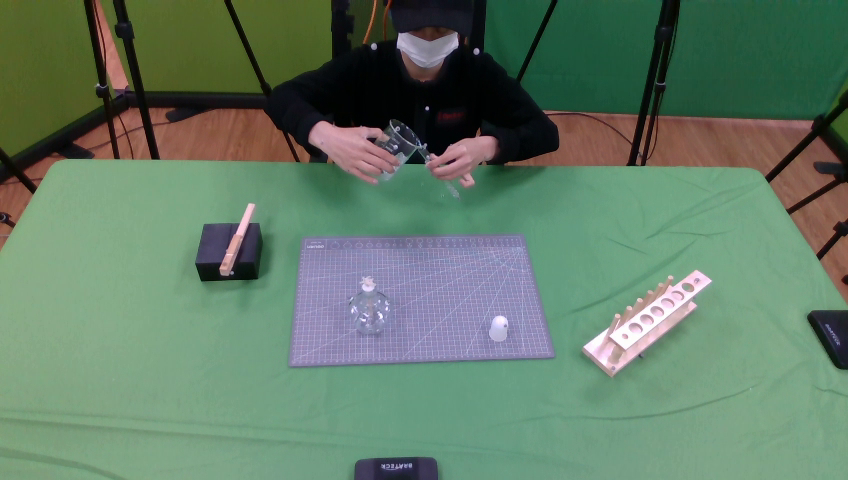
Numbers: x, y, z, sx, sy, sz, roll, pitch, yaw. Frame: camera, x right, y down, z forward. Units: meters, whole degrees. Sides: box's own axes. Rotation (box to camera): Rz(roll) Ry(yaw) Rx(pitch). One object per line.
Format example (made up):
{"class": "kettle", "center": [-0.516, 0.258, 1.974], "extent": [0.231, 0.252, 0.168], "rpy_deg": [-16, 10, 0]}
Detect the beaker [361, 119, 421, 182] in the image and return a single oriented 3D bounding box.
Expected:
{"class": "beaker", "center": [-0.064, -0.166, 1.152], "extent": [0.084, 0.100, 0.073], "rpy_deg": [30, 27, -27]}

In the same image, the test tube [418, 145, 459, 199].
{"class": "test tube", "center": [0.031, -0.132, 1.201], "extent": [0.017, 0.151, 0.017], "rpy_deg": [-21, 44, 22]}

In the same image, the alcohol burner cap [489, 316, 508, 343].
{"class": "alcohol burner cap", "center": [0.130, 0.151, 1.045], "extent": [0.034, 0.048, 0.033], "rpy_deg": [2, 46, -2]}

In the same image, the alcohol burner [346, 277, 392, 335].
{"class": "alcohol burner", "center": [-0.093, 0.106, 1.021], "extent": [0.078, 0.120, 0.077], "rpy_deg": [1, 46, -1]}

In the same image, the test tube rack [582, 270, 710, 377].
{"class": "test tube rack", "center": [0.389, 0.132, 1.057], "extent": [0.242, 0.085, 0.066], "rpy_deg": [-28, 53, -28]}

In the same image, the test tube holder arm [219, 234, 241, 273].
{"class": "test tube holder arm", "center": [-0.344, 0.023, 1.076], "extent": [0.015, 0.010, 0.087], "rpy_deg": [5, 45, 2]}

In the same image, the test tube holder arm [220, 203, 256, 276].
{"class": "test tube holder arm", "center": [-0.340, -0.005, 1.112], "extent": [0.015, 0.013, 0.177], "rpy_deg": [5, 46, 2]}
